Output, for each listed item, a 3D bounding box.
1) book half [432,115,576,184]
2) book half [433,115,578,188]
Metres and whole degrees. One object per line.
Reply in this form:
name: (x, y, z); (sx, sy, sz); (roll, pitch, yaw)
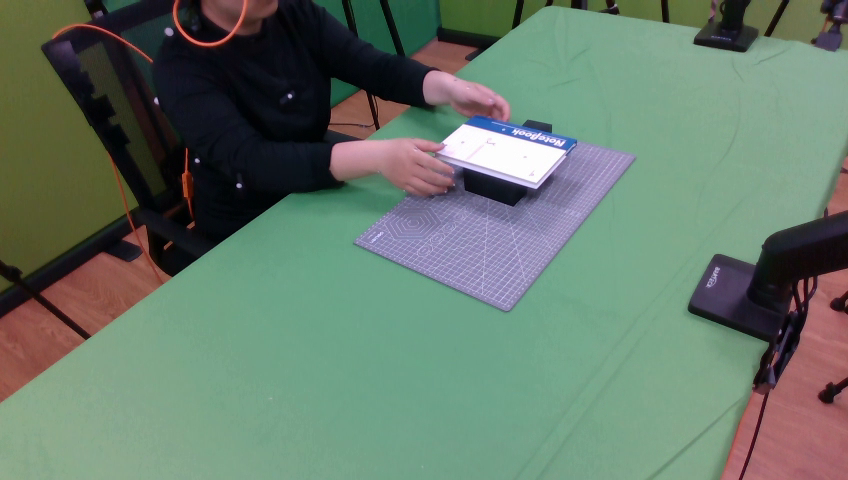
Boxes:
book half: (0.138, -0.163, 1.054); (0.208, 0.007, 0.143); (22, 48, 29)
book half: (0.140, -0.160, 1.060); (0.208, 0.016, 0.149); (22, 48, 30)
